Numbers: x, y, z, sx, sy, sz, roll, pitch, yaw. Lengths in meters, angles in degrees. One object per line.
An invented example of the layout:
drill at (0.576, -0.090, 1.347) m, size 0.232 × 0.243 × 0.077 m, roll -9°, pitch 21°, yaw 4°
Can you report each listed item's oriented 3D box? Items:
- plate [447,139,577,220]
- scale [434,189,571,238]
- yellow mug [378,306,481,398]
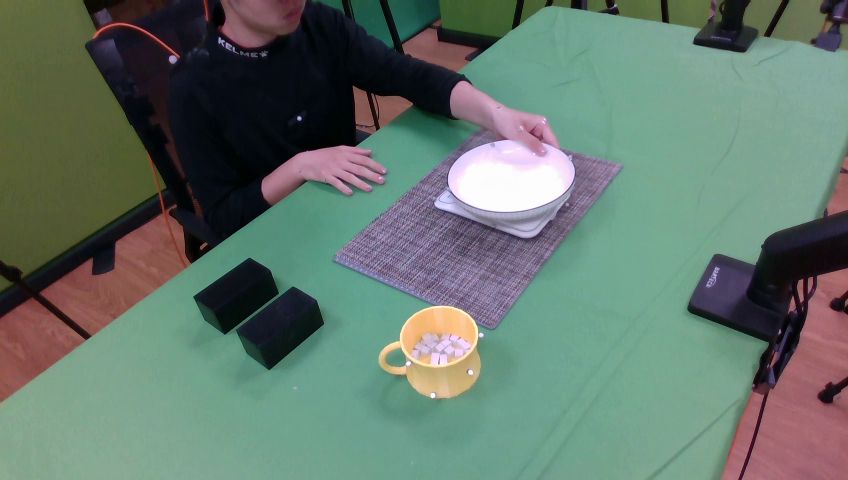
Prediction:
plate at (0.143, -0.095, 0.985) m, size 0.209 × 0.038 × 0.208 m, roll -5°, pitch 40°, yaw 5°
scale at (0.132, -0.075, 1.024) m, size 0.199 × 0.032 × 0.149 m, roll 22°, pitch 48°, yaw 30°
yellow mug at (0.006, 0.144, 0.766) m, size 0.131 × 0.064 × 0.099 m, roll -10°, pitch 40°, yaw -2°
